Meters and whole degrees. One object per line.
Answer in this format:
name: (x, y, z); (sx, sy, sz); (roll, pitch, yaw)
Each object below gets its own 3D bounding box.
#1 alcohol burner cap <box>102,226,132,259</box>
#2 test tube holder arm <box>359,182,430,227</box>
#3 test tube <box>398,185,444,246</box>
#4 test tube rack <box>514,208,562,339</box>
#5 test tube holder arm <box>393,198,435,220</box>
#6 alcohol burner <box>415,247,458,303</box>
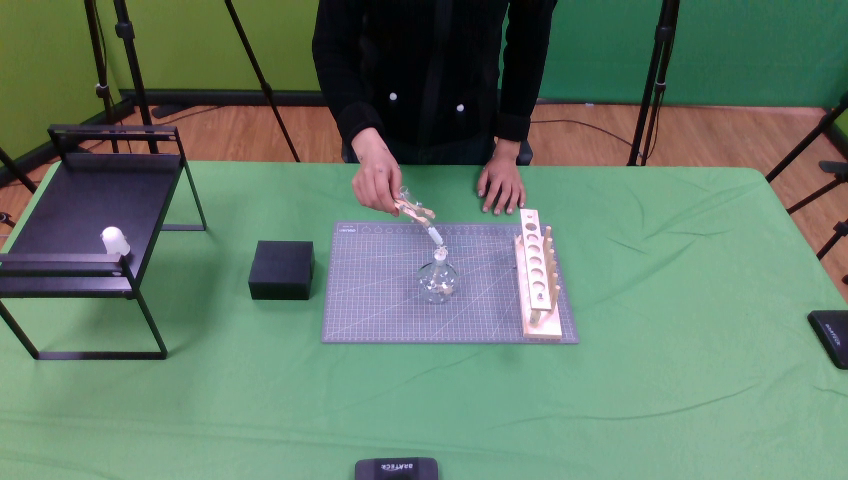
alcohol burner cap: (-0.457, 0.001, 0.897); (0.034, 0.048, 0.033); (2, 46, -2)
test tube holder arm: (-0.053, -0.061, 1.001); (0.177, 0.015, 0.013); (29, 70, 41)
test tube: (-0.002, -0.036, 0.964); (0.017, 0.151, 0.017); (-15, 51, 19)
test tube rack: (0.212, 0.056, 1.113); (0.067, 0.085, 0.241); (3, 46, -1)
test tube holder arm: (-0.018, -0.050, 0.974); (0.087, 0.015, 0.010); (21, 65, 38)
alcohol burner: (0.024, 0.057, 1.078); (0.078, 0.119, 0.077); (3, 44, -2)
